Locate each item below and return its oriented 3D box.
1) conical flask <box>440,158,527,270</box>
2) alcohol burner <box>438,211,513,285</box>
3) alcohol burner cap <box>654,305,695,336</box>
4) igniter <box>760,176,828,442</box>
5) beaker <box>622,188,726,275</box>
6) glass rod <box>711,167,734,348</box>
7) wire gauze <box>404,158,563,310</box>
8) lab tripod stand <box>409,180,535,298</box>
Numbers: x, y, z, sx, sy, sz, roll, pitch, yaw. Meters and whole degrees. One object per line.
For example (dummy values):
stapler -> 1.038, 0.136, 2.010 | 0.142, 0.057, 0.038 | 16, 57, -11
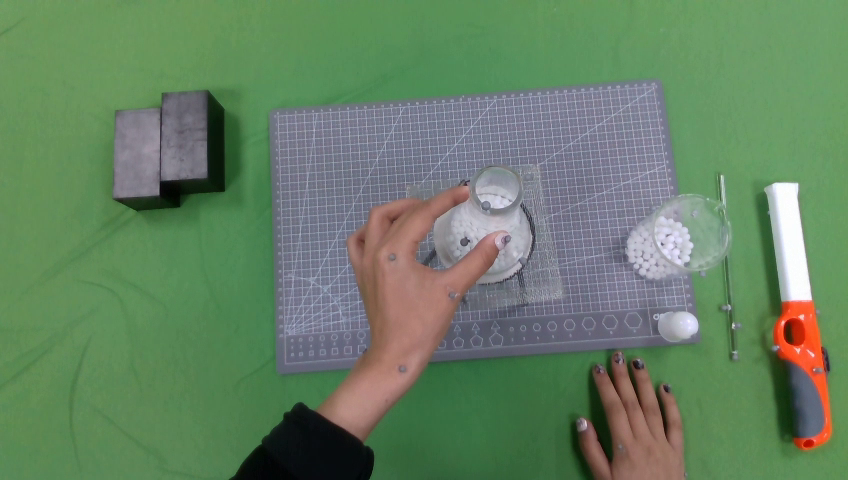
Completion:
conical flask -> 0.049, -0.024, 0.468 | 0.075, 0.122, 0.075 | 0, 75, 2
alcohol burner -> 0.052, 0.005, 0.608 | 0.078, 0.119, 0.077 | -1, 78, 3
alcohol burner cap -> 0.262, 0.082, 0.626 | 0.034, 0.048, 0.033 | 0, 80, 2
igniter -> 0.387, 0.068, 0.636 | 0.057, 0.025, 0.275 | 0, 80, -9
beaker -> 0.249, -0.005, 0.612 | 0.084, 0.100, 0.074 | -41, 81, -6
glass rod -> 0.324, 0.016, 0.657 | 0.008, 0.008, 0.199 | 0, 79, 1
wire gauze -> 0.051, -0.005, 0.530 | 0.125, 0.011, 0.121 | -8, 80, 0
lab tripod stand -> 0.052, 0.004, 0.597 | 0.148, 0.132, 0.148 | 0, 82, 2
